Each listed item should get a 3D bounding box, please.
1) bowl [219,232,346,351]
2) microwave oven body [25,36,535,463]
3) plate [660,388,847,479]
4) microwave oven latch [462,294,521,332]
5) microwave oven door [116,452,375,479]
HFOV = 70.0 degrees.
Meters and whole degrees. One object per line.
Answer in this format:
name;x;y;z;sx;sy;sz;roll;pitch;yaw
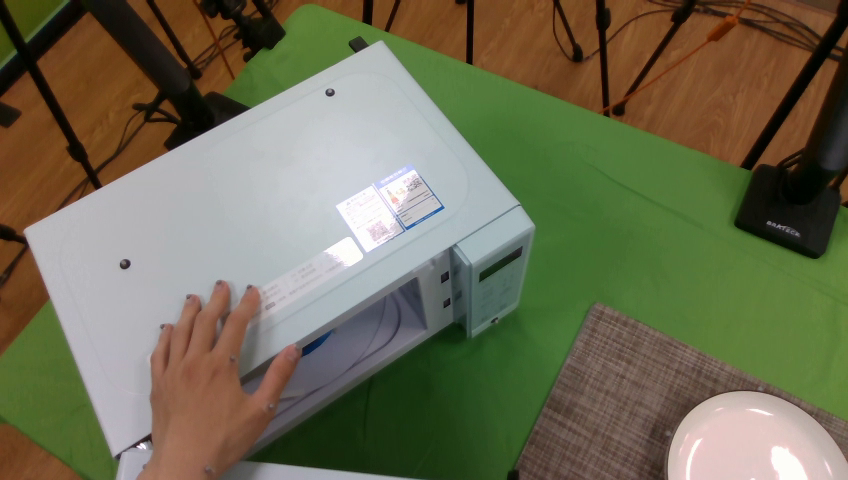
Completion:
bowl;-0.163;0.074;0.740;0.151;0.077;0.150;-2;60;3
microwave oven body;-0.148;0.027;0.722;0.442;0.262;0.323;-32;67;-11
plate;0.374;0.276;0.692;0.207;0.039;0.206;-1;64;3
microwave oven latch;0.088;0.087;0.786;0.079;0.030;0.030;-30;66;-10
microwave oven door;-0.078;0.253;0.603;0.355;0.246;0.039;4;64;6
